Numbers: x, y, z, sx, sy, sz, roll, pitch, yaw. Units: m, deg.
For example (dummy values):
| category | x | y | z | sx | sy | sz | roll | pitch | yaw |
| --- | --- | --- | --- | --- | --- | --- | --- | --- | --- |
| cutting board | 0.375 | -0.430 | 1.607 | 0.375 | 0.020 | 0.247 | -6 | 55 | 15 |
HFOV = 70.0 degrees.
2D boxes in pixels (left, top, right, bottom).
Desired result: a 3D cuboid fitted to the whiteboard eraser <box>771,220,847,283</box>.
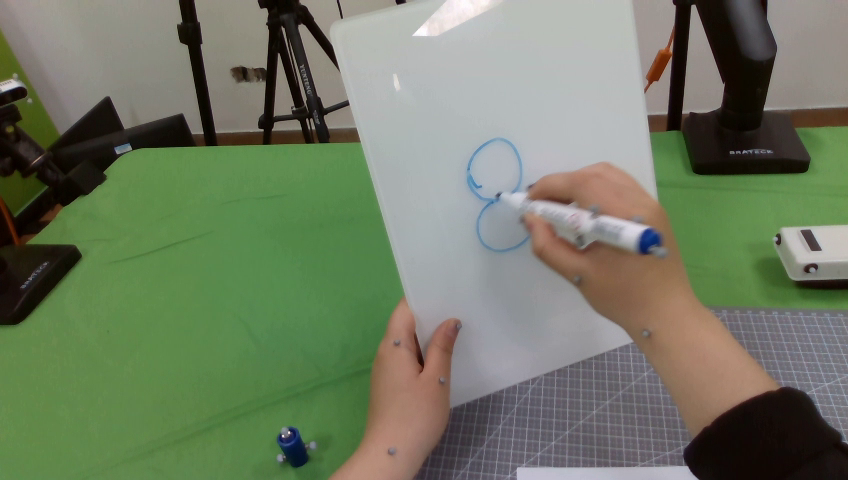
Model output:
| category | x | y | z | sx | sy | sz | roll | pitch | yaw |
| --- | --- | --- | --- | --- | --- | --- | --- | --- | --- |
| whiteboard eraser | 0.373 | 0.010 | 0.532 | 0.112 | 0.042 | 0.055 | -1 | 42 | 11 |

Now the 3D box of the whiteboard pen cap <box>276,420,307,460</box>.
| category | x | y | z | sx | sy | sz | roll | pitch | yaw |
| --- | --- | --- | --- | --- | --- | --- | --- | --- | --- |
| whiteboard pen cap | -0.102 | 0.155 | 0.467 | 0.018 | 0.033 | 0.018 | -5 | 40 | 5 |

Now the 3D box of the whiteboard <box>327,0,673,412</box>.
| category | x | y | z | sx | sy | sz | roll | pitch | yaw |
| --- | --- | --- | --- | --- | --- | --- | --- | --- | --- |
| whiteboard | 0.061 | -0.052 | 0.516 | 0.217 | 0.307 | 0.143 | -17 | 19 | -8 |

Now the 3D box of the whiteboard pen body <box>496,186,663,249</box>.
| category | x | y | z | sx | sy | sz | roll | pitch | yaw |
| --- | --- | --- | --- | --- | --- | --- | --- | --- | --- |
| whiteboard pen body | 0.089 | -0.019 | 0.380 | 0.017 | 0.017 | 0.139 | -29 | 29 | -22 |
